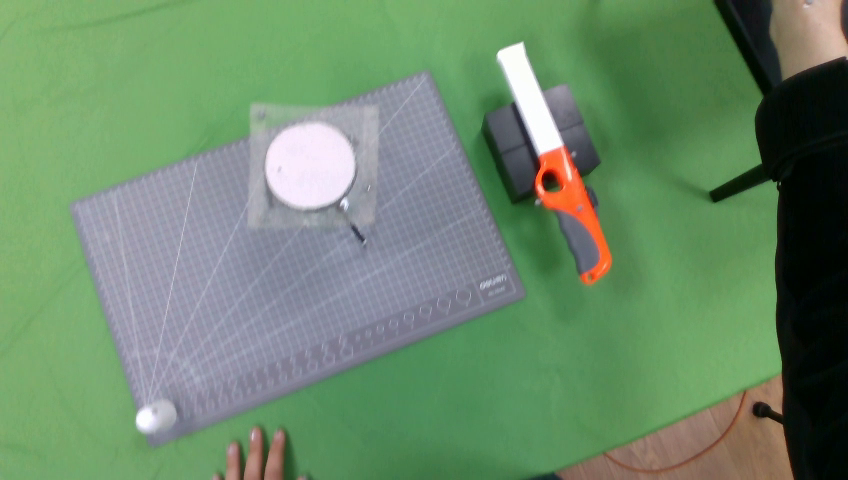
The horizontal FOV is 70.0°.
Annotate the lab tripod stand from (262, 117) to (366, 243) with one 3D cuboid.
[{"bbox_3d":[-0.110,-0.069,0.640,0.148,0.132,0.148,0,80,0],"label":"lab tripod stand"}]

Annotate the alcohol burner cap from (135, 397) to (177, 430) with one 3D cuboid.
[{"bbox_3d":[-0.290,0.187,0.648,0.034,0.048,0.033,0,81,-1],"label":"alcohol burner cap"}]

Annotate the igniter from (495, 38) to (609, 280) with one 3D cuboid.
[{"bbox_3d":[0.138,-0.090,0.655,0.057,0.025,0.275,-20,82,-1],"label":"igniter"}]

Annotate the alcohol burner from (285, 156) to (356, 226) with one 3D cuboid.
[{"bbox_3d":[-0.114,-0.056,0.648,0.078,0.119,0.077,0,83,0],"label":"alcohol burner"}]

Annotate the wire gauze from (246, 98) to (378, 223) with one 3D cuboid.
[{"bbox_3d":[-0.106,-0.077,0.573,0.121,0.011,0.124,1,81,-1],"label":"wire gauze"}]

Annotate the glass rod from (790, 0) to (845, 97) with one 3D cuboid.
[{"bbox_3d":[0.337,-0.220,0.551,0.008,0.008,0.199,-21,83,-3],"label":"glass rod"}]
